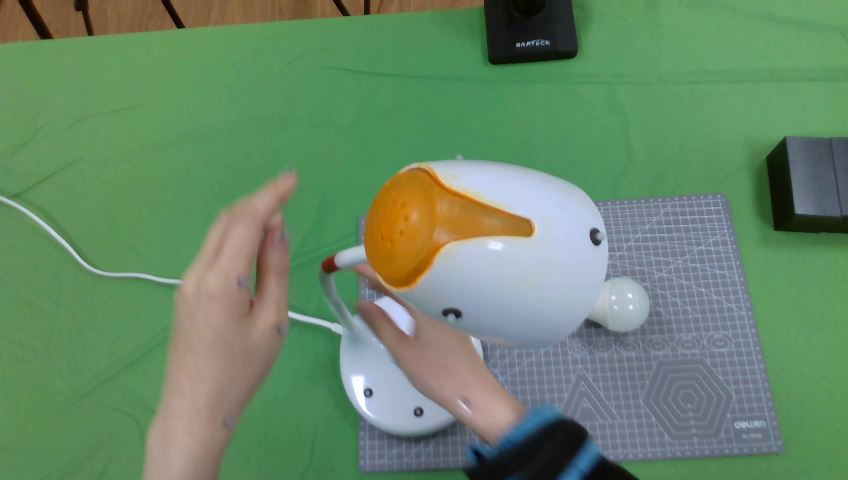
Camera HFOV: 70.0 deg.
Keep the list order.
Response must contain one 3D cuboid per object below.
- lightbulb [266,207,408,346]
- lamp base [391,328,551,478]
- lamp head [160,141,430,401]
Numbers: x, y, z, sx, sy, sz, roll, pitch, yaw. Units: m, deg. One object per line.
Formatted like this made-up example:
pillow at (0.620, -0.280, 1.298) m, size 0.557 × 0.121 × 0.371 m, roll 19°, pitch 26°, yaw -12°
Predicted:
lightbulb at (-0.040, 0.022, 0.281) m, size 0.060 × 0.108 × 0.059 m, roll 3°, pitch 74°, yaw -9°
lamp base at (0.037, 0.146, 0.590) m, size 0.179 × 0.181 × 0.159 m, roll 8°, pitch 71°, yaw 11°
lamp head at (-0.071, 0.028, 0.295) m, size 0.113 × 0.123 × 0.111 m, roll 17°, pitch 60°, yaw -32°
